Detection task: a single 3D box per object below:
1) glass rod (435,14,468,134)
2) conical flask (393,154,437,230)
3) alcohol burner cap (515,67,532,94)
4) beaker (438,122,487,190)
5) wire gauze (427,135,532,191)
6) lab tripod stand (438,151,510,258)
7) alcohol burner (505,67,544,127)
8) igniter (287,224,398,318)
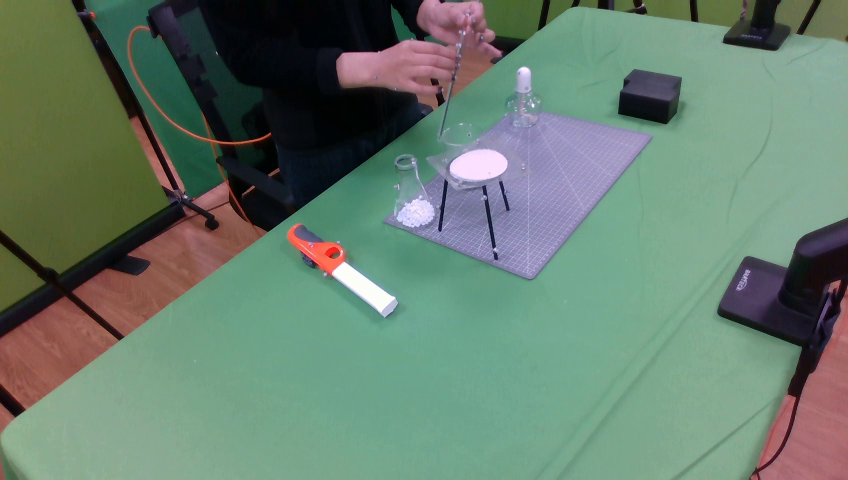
[{"bbox_3d":[0.043,-0.268,0.989,0.008,0.200,0.008,12,26,-6],"label":"glass rod"},{"bbox_3d":[-0.022,-0.082,1.003,0.075,0.122,0.075,-6,40,5],"label":"conical flask"},{"bbox_3d":[0.197,-0.315,1.187,0.034,0.048,0.033,-2,46,3],"label":"alcohol burner cap"},{"bbox_3d":[0.072,-0.147,1.080,0.084,0.101,0.073,-5,40,7],"label":"beaker"},{"bbox_3d":[0.081,-0.115,0.909,0.125,0.011,0.120,-18,39,-11],"label":"wire gauze"},{"bbox_3d":[0.087,-0.064,0.952,0.148,0.132,0.147,-6,38,5],"label":"lab tripod stand"},{"bbox_3d":[0.201,-0.288,1.211,0.078,0.119,0.077,-6,38,5],"label":"alcohol burner"},{"bbox_3d":[-0.139,0.042,0.958,0.057,0.025,0.274,-42,49,-19],"label":"igniter"}]
